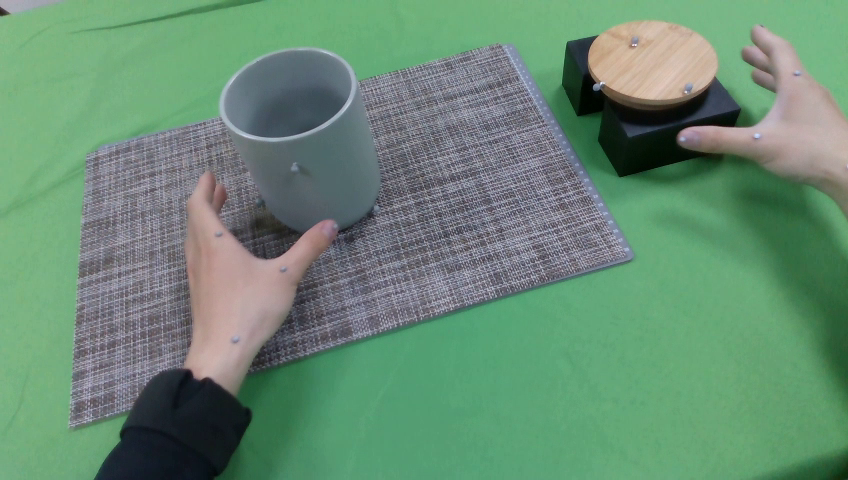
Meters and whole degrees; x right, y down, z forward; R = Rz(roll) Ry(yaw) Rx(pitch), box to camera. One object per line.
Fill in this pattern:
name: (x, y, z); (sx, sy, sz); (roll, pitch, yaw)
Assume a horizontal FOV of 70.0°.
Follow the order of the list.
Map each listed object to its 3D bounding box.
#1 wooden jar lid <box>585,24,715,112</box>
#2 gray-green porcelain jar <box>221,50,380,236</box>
wooden jar lid: (0.197, -0.151, 0.535); (0.108, 0.021, 0.107); (-3, 55, 5)
gray-green porcelain jar: (-0.095, -0.073, 0.506); (0.106, 0.128, 0.105); (-3, 54, 5)
